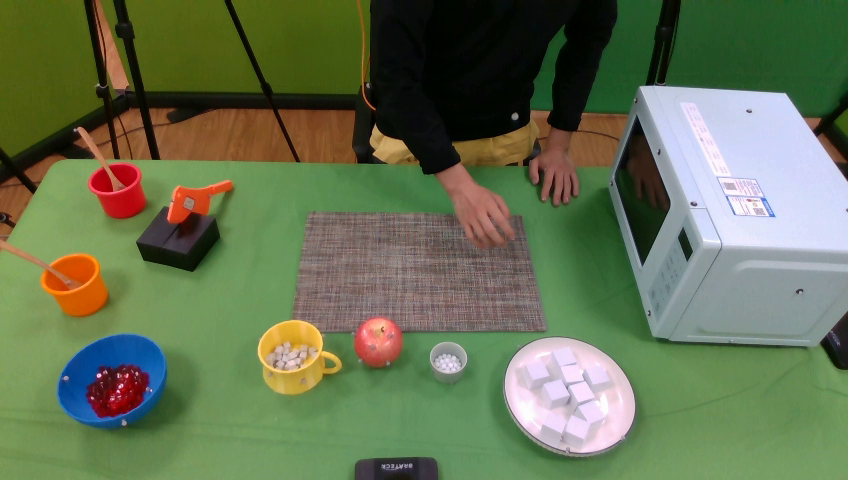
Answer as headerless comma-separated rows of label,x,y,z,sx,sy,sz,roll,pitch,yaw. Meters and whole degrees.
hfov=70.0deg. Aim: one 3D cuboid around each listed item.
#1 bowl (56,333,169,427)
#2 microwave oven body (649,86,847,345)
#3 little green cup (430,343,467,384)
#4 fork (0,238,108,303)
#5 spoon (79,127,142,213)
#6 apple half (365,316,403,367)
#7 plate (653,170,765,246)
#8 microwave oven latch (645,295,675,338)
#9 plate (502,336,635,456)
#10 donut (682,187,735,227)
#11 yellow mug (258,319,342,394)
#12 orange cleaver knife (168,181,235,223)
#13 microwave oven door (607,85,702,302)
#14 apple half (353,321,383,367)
bowl,-0.456,0.223,0.911,0.151,0.077,0.150,3,46,-2
microwave oven body,0.567,-0.053,1.119,0.326,0.261,0.439,2,45,-1
little green cup,0.039,0.203,0.993,0.061,0.039,0.061,2,46,-2
fork,-0.633,0.048,1.017,0.208,0.018,0.028,40,43,-27
spoon,-0.624,-0.139,1.203,0.041,0.021,0.194,-33,100,-26
apple half,-0.063,0.165,1.000,0.053,0.075,0.080,-16,45,-24
plate,0.556,-0.060,1.195,0.209,0.038,0.208,1,45,-1
microwave oven latch,0.412,0.134,1.061,0.030,0.029,0.078,3,45,0
plate,0.225,0.248,0.963,0.208,0.039,0.206,2,46,-2
donut,0.554,-0.067,1.184,0.099,0.048,0.098,3,45,-2
yellow mug,-0.195,0.188,0.972,0.131,0.064,0.099,9,47,4
orange cleaver knife,-0.436,-0.078,1.196,0.012,0.077,0.211,16,15,10
microwave oven door,0.423,-0.094,1.140,0.039,0.245,0.353,2,46,-1
apple half,-0.097,0.177,0.984,0.033,0.081,0.081,-17,49,-24
